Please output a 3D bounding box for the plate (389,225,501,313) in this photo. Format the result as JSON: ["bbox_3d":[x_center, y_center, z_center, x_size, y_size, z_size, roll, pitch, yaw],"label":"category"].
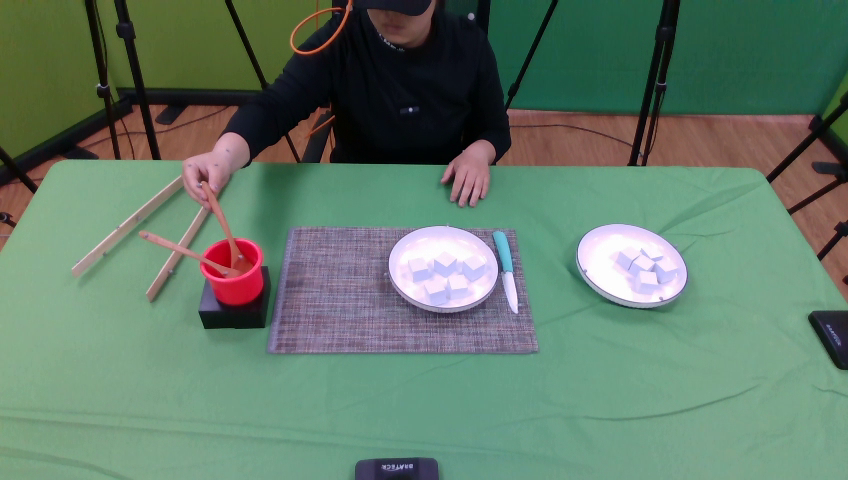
[{"bbox_3d":[0.038,0.057,1.128,0.208,0.039,0.206,2,46,-2],"label":"plate"}]

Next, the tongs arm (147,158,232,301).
[{"bbox_3d":[-0.453,-0.034,1.194,0.028,0.028,0.385,7,46,6],"label":"tongs arm"}]

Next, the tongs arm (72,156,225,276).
[{"bbox_3d":[-0.531,-0.057,1.205,0.050,0.026,0.383,19,47,13],"label":"tongs arm"}]

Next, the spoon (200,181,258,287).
[{"bbox_3d":[-0.326,-0.009,1.011,0.041,0.194,0.021,-27,17,-31],"label":"spoon"}]

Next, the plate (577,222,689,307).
[{"bbox_3d":[0.396,0.050,1.165,0.209,0.038,0.208,2,47,-2],"label":"plate"}]

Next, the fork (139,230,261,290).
[{"bbox_3d":[-0.358,0.033,0.982,0.208,0.018,0.028,32,58,-31],"label":"fork"}]

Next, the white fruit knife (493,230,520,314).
[{"bbox_3d":[0.160,0.057,1.154,0.027,0.016,0.206,-21,46,16],"label":"white fruit knife"}]
